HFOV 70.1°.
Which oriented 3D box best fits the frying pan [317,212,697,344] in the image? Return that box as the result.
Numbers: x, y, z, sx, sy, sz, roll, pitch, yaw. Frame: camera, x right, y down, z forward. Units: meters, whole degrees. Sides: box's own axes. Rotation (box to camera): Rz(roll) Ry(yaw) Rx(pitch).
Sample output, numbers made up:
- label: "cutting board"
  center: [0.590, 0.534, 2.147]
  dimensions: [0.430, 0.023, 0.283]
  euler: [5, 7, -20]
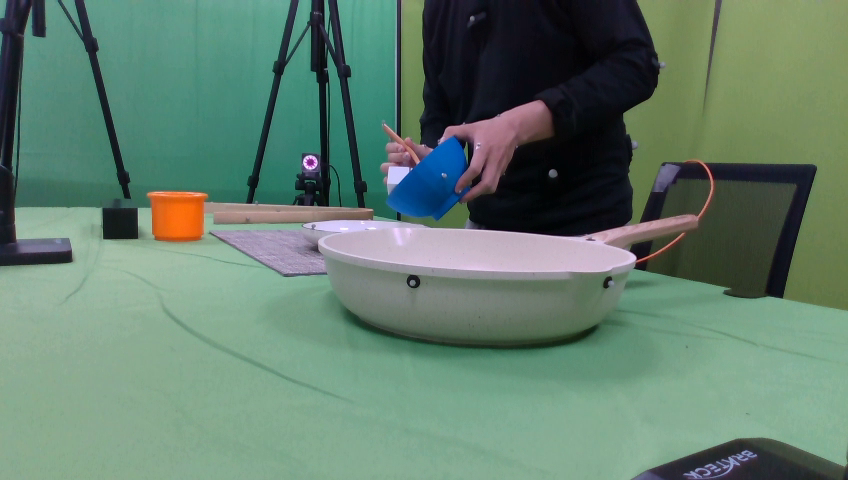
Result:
- label: "frying pan"
  center: [0.133, 0.013, 0.629]
  dimensions: [0.490, 0.102, 0.305]
  euler: [-12, 14, -31]

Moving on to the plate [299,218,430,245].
- label: "plate"
  center: [-0.091, -0.006, 0.949]
  dimensions: [0.208, 0.039, 0.207]
  euler: [2, 7, 0]

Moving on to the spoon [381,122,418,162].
- label: "spoon"
  center: [-0.020, -0.135, 0.984]
  dimensions: [0.021, 0.042, 0.193]
  euler: [-31, 56, -5]

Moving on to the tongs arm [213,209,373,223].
- label: "tongs arm"
  center: [-0.274, -0.054, 1.347]
  dimensions: [0.390, 0.028, 0.028]
  euler: [-3, 7, -37]

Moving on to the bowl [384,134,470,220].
- label: "bowl"
  center: [0.019, -0.085, 0.941]
  dimensions: [0.077, 0.151, 0.151]
  euler: [46, 12, 2]

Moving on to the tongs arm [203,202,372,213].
- label: "tongs arm"
  center: [-0.312, -0.068, 1.417]
  dimensions: [0.387, 0.026, 0.050]
  euler: [1, 8, -24]
